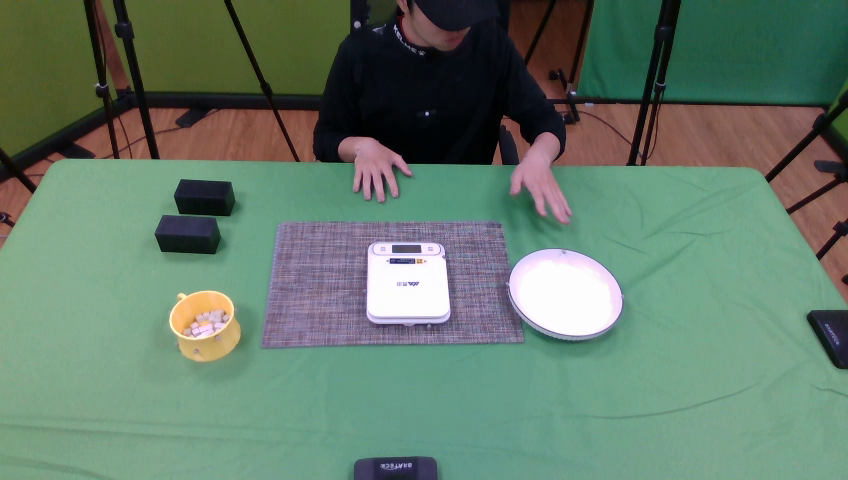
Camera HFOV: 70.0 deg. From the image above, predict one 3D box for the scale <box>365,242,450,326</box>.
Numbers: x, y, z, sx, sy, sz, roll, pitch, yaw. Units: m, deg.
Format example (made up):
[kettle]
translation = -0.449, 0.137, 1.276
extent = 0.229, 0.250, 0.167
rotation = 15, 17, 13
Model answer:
[scale]
translation = -0.032, 0.071, 1.113
extent = 0.149, 0.032, 0.199
rotation = 0, 46, -4

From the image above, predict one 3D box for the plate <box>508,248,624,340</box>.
[plate]
translation = 0.256, 0.101, 1.106
extent = 0.209, 0.038, 0.208
rotation = 2, 45, -2

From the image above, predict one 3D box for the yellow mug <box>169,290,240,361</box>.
[yellow mug]
translation = -0.373, 0.132, 1.009
extent = 0.130, 0.064, 0.100
rotation = 35, 53, 27
